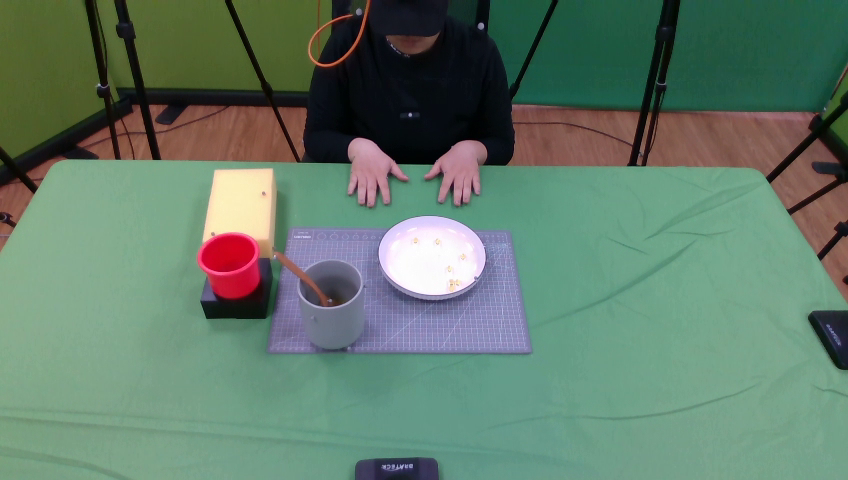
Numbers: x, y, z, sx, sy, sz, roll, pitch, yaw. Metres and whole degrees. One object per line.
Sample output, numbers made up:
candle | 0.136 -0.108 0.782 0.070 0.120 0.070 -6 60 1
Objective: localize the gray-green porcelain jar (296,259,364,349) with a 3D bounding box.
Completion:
gray-green porcelain jar | -0.152 0.111 1.003 0.106 0.127 0.105 2 46 -2

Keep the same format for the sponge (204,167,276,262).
sponge | -0.358 -0.054 1.196 0.118 0.061 0.205 -4 47 -8

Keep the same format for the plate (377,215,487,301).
plate | 0.014 0.037 1.147 0.208 0.039 0.206 2 46 -2

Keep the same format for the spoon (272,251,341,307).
spoon | -0.181 0.077 0.981 0.021 0.195 0.041 -8 46 28
